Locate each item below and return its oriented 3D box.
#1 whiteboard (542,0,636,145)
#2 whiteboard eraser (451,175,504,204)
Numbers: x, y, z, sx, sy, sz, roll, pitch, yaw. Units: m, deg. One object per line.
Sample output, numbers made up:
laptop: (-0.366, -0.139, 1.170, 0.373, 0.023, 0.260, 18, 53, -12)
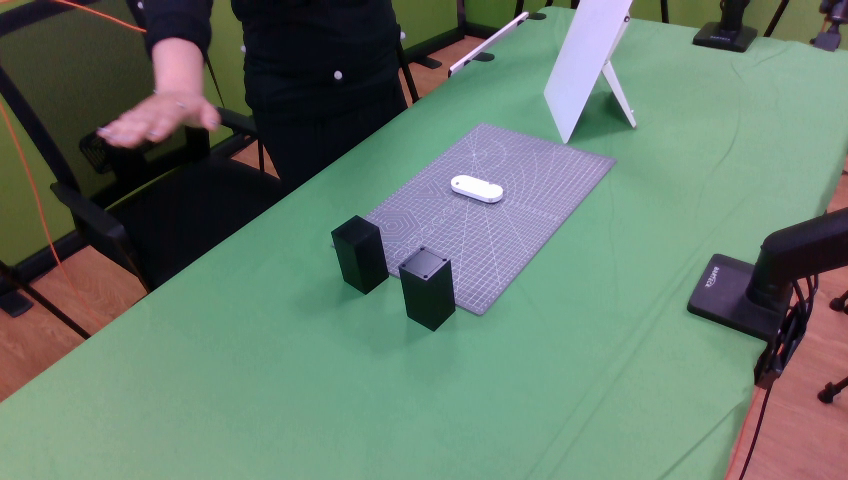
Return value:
whiteboard: (0.365, -0.351, 1.160, 0.144, 0.305, 0.216, 9, 39, -10)
whiteboard eraser: (0.093, -0.089, 1.059, 0.100, 0.019, 0.041, 21, 48, 30)
